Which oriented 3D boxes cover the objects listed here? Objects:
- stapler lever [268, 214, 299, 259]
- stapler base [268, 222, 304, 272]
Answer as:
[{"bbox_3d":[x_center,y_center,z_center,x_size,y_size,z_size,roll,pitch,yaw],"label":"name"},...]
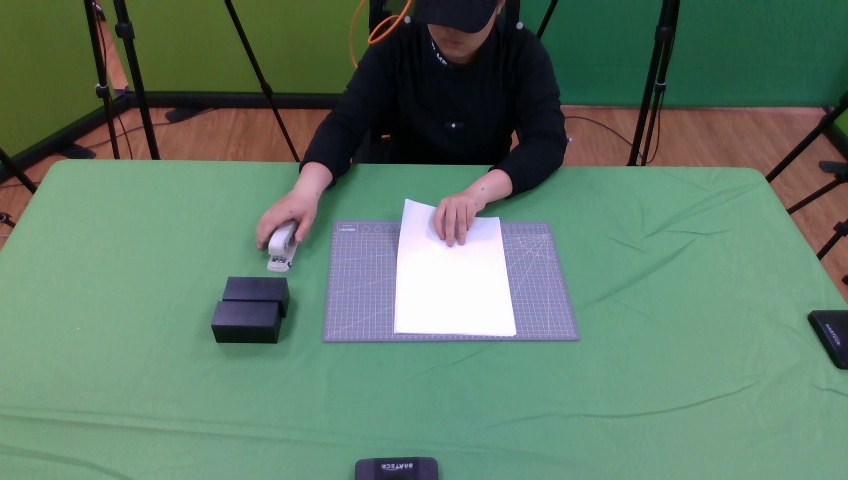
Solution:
[{"bbox_3d":[-0.267,-0.013,1.154,0.027,0.040,0.117,7,44,3],"label":"stapler lever"},{"bbox_3d":[-0.267,0.006,1.171,0.041,0.024,0.130,7,44,3],"label":"stapler base"}]
